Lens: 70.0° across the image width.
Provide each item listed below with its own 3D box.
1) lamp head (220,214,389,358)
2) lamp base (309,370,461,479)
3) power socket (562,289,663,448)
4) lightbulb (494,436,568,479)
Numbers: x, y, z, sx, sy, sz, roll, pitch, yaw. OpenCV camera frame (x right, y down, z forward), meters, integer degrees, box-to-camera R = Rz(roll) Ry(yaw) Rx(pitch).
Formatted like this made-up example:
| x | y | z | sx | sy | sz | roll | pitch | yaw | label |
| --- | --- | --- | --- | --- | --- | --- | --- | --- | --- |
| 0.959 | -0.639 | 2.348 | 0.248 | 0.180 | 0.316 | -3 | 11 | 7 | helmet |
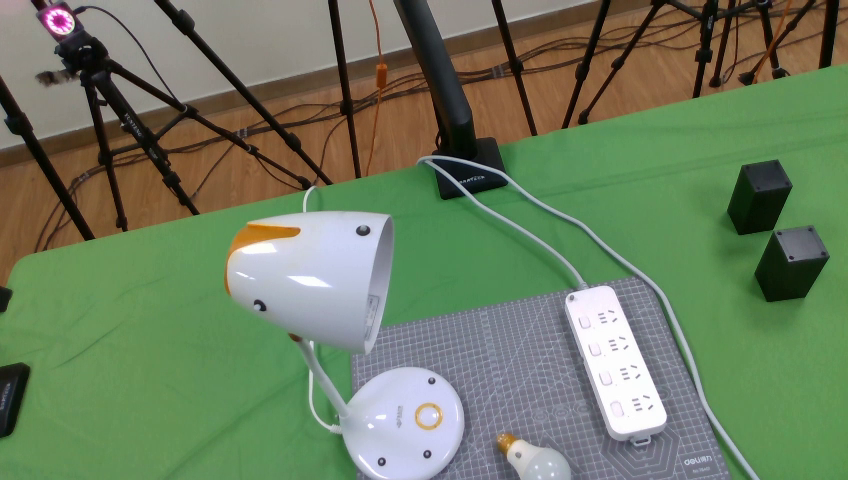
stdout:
| x | y | z | sx | sy | sz | roll | pitch | yaw | label |
| --- | --- | --- | --- | --- | --- | --- | --- | --- | --- |
| -0.093 | 0.032 | 0.477 | 0.123 | 0.113 | 0.111 | 5 | 55 | 8 | lamp head |
| -0.057 | 0.205 | 0.743 | 0.179 | 0.182 | 0.159 | -15 | 52 | 5 | lamp base |
| 0.245 | 0.161 | 0.804 | 0.072 | 0.033 | 0.224 | -13 | 52 | 2 | power socket |
| 0.126 | 0.273 | 0.737 | 0.059 | 0.060 | 0.106 | -43 | 40 | -19 | lightbulb |
